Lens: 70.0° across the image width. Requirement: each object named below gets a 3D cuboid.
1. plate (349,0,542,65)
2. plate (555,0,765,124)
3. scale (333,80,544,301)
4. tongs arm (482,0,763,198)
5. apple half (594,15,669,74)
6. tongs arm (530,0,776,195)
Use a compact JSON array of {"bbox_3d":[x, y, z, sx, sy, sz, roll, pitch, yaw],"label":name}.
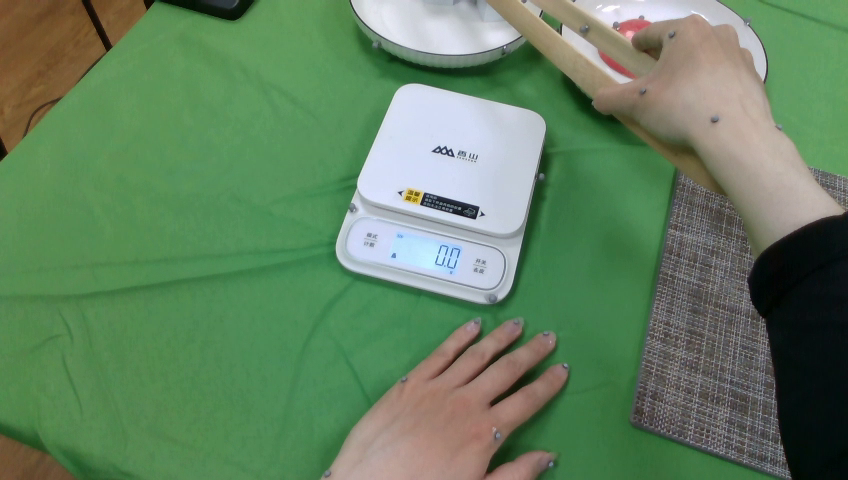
[{"bbox_3d":[0.023,-0.258,0.652,0.208,0.039,0.205,1,58,-1],"label":"plate"},{"bbox_3d":[0.236,-0.192,0.621,0.209,0.038,0.207,1,58,-2],"label":"plate"},{"bbox_3d":[0.018,-0.051,0.527,0.148,0.032,0.199,14,59,6],"label":"scale"},{"bbox_3d":[0.122,-0.162,0.514,0.028,0.028,0.383,-18,52,-24],"label":"tongs arm"},{"bbox_3d":[0.219,-0.207,0.624,0.081,0.033,0.080,0,55,0],"label":"apple half"},{"bbox_3d":[0.142,-0.170,0.523,0.051,0.027,0.380,-24,55,-24],"label":"tongs arm"}]
